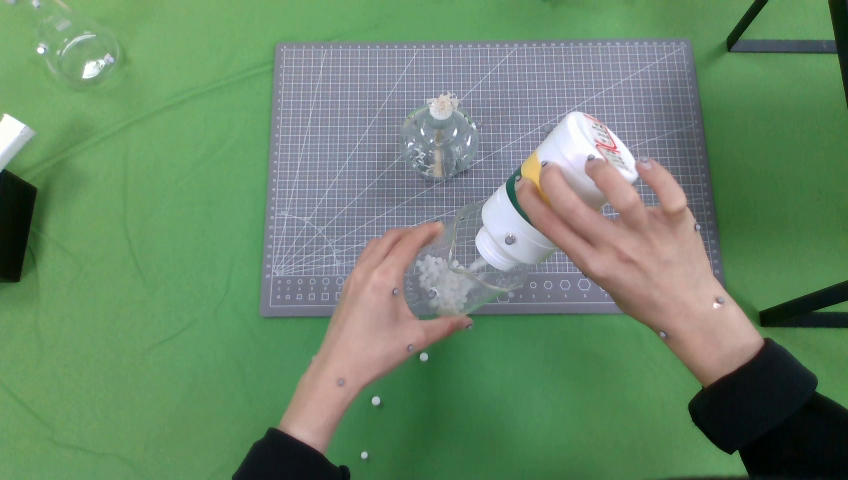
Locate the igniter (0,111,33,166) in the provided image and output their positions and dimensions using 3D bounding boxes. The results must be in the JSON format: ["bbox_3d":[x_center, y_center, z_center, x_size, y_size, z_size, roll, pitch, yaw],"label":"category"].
[{"bbox_3d":[-0.459,-0.002,0.545,0.057,0.025,0.276,29,76,17],"label":"igniter"}]

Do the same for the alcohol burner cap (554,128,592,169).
[{"bbox_3d":[0.150,-0.094,0.604,0.034,0.048,0.033,0,75,0],"label":"alcohol burner cap"}]

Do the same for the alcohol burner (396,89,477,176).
[{"bbox_3d":[0.012,-0.107,0.571,0.078,0.119,0.077,0,73,-1],"label":"alcohol burner"}]

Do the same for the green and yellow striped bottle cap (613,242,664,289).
[{"bbox_3d":[0.208,0.024,0.586,0.045,0.020,0.045,0,76,0],"label":"green and yellow striped bottle cap"}]

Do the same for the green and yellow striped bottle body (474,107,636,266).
[{"bbox_3d":[0.086,-0.031,0.433,0.063,0.120,0.062,25,39,-22],"label":"green and yellow striped bottle body"}]

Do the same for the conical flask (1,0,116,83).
[{"bbox_3d":[-0.370,-0.218,0.601,0.075,0.122,0.075,0,74,1],"label":"conical flask"}]

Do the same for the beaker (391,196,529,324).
[{"bbox_3d":[0.023,0.022,0.491,0.084,0.100,0.074,-24,80,-42],"label":"beaker"}]
